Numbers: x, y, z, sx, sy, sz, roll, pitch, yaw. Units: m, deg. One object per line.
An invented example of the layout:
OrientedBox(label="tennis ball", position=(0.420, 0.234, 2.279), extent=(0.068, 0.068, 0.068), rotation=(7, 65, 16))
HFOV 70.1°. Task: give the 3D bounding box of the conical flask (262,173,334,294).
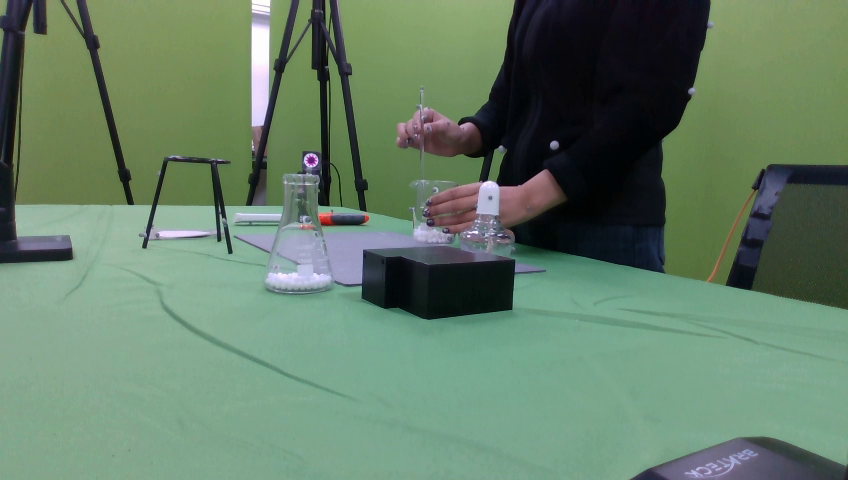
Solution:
OrientedBox(label="conical flask", position=(-0.131, -0.009, 0.632), extent=(0.075, 0.122, 0.075), rotation=(2, 8, 0))

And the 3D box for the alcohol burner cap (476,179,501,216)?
OrientedBox(label="alcohol burner cap", position=(0.086, -0.057, 0.801), extent=(0.034, 0.048, 0.034), rotation=(4, 2, 0))

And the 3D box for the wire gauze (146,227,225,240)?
OrientedBox(label="wire gauze", position=(-0.400, -0.012, 1.019), extent=(0.122, 0.011, 0.124), rotation=(-1, 6, -26))

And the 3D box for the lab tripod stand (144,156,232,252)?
OrientedBox(label="lab tripod stand", position=(-0.325, -0.054, 0.881), extent=(0.148, 0.131, 0.148), rotation=(4, 7, 0))

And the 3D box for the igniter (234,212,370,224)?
OrientedBox(label="igniter", position=(-0.247, -0.046, 1.253), extent=(0.278, 0.025, 0.057), rotation=(-1, -3, -27))

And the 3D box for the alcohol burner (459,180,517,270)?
OrientedBox(label="alcohol burner", position=(0.086, -0.021, 0.806), extent=(0.078, 0.119, 0.078), rotation=(3, 9, 0))

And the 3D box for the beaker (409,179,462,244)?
OrientedBox(label="beaker", position=(0.016, -0.046, 0.960), extent=(0.084, 0.100, 0.074), rotation=(3, 5, 11))

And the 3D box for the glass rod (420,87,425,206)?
OrientedBox(label="glass rod", position=(-0.003, -0.152, 0.968), extent=(0.008, 0.199, 0.008), rotation=(-1, -11, 0))
